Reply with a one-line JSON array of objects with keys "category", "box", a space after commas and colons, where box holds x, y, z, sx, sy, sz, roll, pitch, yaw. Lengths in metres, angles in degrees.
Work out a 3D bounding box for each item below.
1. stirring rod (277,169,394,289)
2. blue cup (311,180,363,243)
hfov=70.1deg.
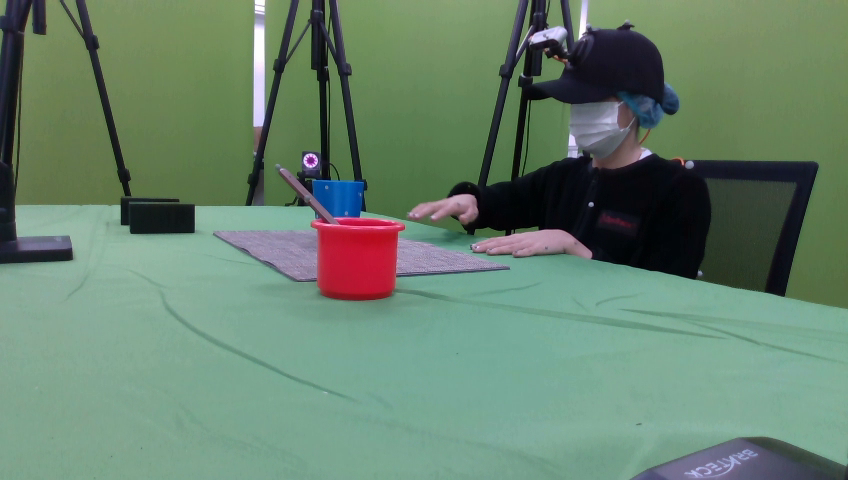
[{"category": "stirring rod", "box": [-0.094, -0.013, 0.640, 0.176, 0.006, 0.014, 46, 22, 7]}, {"category": "blue cup", "box": [-0.144, -0.047, 0.997, 0.093, 0.100, 0.092, 2, 6, 0]}]
